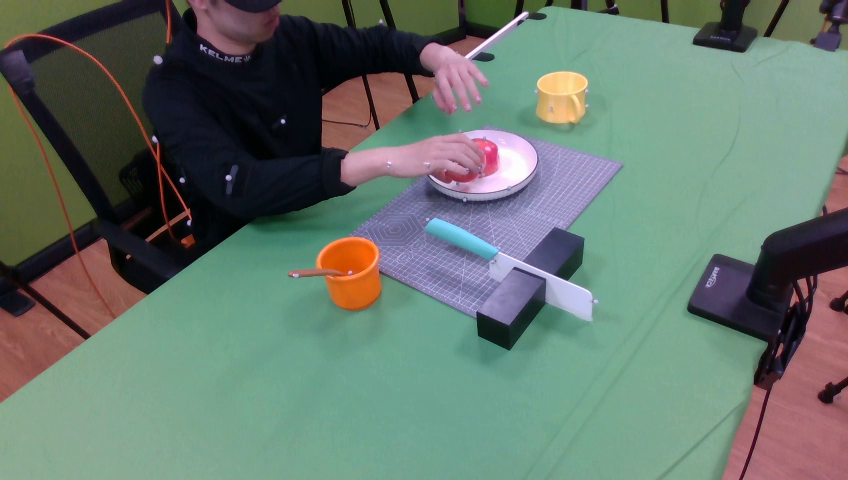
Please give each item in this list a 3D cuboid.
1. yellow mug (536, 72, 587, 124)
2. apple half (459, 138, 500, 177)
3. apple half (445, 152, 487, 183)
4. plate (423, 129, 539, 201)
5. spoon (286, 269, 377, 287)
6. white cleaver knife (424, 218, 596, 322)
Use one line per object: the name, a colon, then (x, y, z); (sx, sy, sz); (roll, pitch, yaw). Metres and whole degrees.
yellow mug: (0.284, -0.281, 1.222); (0.100, 0.064, 0.130); (-16, 42, -9)
apple half: (0.100, -0.156, 1.096); (0.074, 0.053, 0.080); (2, 40, 12)
apple half: (0.079, -0.115, 1.025); (0.081, 0.081, 0.032); (-19, 73, -14)
plate: (0.103, -0.132, 1.092); (0.209, 0.038, 0.208); (-4, 40, 4)
spoon: (-0.125, 0.049, 0.831); (0.041, 0.195, 0.021); (22, 92, 28)
white cleaver knife: (0.114, 0.042, 0.865); (0.284, 0.066, 0.021); (27, 47, 28)
